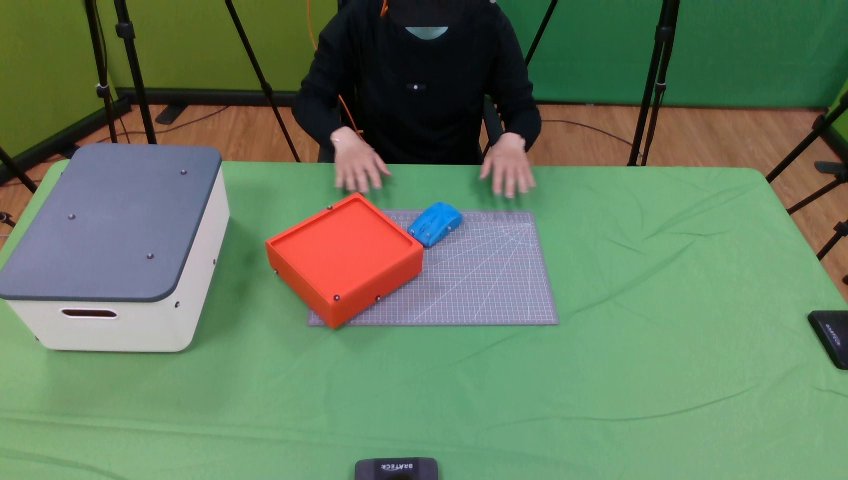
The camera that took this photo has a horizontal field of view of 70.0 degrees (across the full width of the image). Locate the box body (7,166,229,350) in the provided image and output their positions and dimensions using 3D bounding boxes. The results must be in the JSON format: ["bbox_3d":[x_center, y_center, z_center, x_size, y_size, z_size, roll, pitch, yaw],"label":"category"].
[{"bbox_3d":[-0.502,0.008,1.054,0.254,0.161,0.361,1,46,-3],"label":"box body"}]

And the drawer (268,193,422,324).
[{"bbox_3d":[-0.143,0.028,1.116,0.212,0.073,0.193,-33,57,-29],"label":"drawer"}]

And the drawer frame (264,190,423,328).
[{"bbox_3d":[-0.144,0.028,1.114,0.213,0.083,0.200,-34,57,-29],"label":"drawer frame"}]

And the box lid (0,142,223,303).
[{"bbox_3d":[-0.499,-0.045,1.002,0.263,0.015,0.369,2,46,-3],"label":"box lid"}]

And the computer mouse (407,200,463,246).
[{"bbox_3d":[0.022,-0.037,1.220,0.062,0.041,0.117,37,59,25],"label":"computer mouse"}]
